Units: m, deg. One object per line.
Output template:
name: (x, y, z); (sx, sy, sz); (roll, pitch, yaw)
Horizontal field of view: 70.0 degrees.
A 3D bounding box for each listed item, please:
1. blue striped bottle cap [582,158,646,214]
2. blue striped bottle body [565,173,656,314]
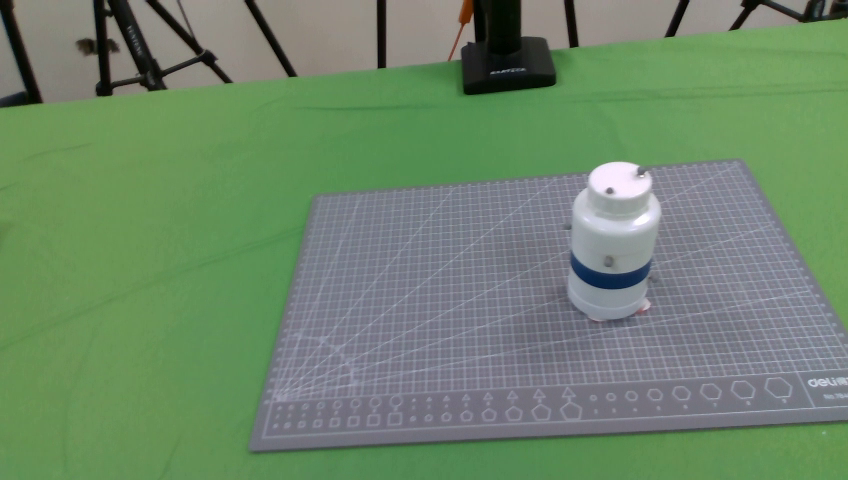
blue striped bottle cap: (0.136, -0.040, 0.435); (0.044, 0.021, 0.044); (-4, 44, 4)
blue striped bottle body: (0.143, -0.003, 0.470); (0.063, 0.122, 0.062); (-5, 44, 5)
